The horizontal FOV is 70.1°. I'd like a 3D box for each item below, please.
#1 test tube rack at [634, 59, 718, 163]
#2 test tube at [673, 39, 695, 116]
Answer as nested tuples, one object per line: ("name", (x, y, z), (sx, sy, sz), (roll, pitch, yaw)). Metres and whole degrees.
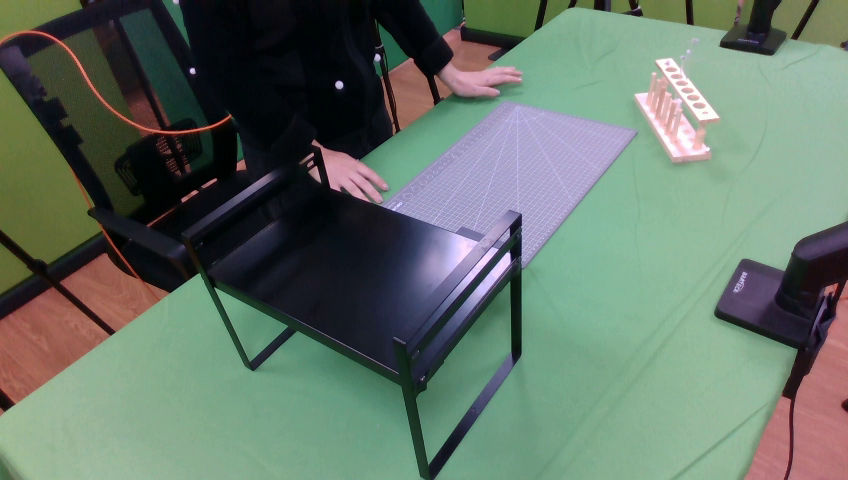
("test tube rack", (0.470, -0.250, 1.148), (0.067, 0.085, 0.241), (-6, 40, 3))
("test tube", (0.482, -0.300, 1.128), (0.017, 0.151, 0.017), (-2, 39, 2))
